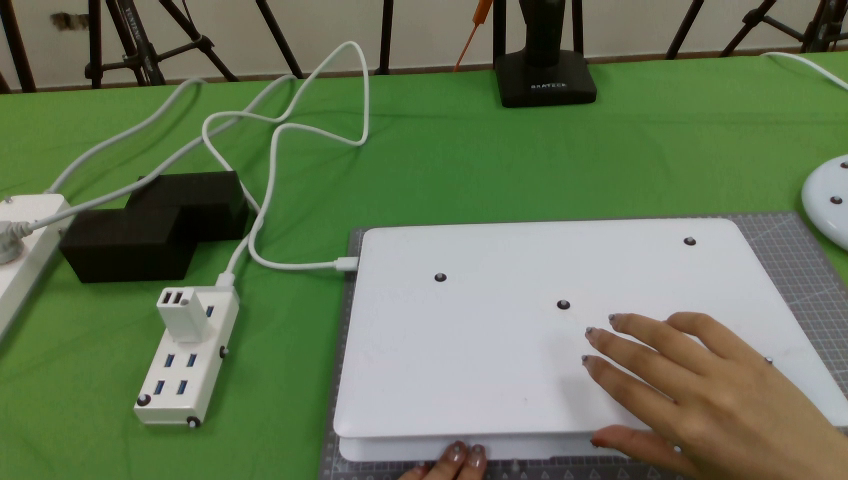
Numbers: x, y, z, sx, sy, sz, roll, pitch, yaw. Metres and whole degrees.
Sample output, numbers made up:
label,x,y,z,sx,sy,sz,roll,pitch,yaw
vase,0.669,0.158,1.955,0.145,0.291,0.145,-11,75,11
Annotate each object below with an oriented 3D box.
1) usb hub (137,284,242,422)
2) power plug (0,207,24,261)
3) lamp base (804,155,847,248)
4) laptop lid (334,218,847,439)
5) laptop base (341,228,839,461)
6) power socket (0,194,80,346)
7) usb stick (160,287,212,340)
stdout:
label,x,y,z,sx,sy,sz,roll,pitch,yaw
usb hub,-0.193,0.091,0.509,0.049,0.025,0.124,-1,44,4
power plug,-0.404,-0.006,0.586,0.035,0.053,0.072,-5,37,-15
lamp base,0.459,-0.092,0.542,0.159,0.182,0.178,21,47,24
laptop lid,0.115,0.056,0.491,0.356,0.013,0.239,-1,38,4
laptop base,0.117,0.074,0.510,0.354,0.023,0.233,-1,47,2
power socket,-0.406,0.032,0.578,0.072,0.033,0.224,0,44,2
usb stick,-0.191,0.065,0.494,0.027,0.060,0.021,-3,44,3
